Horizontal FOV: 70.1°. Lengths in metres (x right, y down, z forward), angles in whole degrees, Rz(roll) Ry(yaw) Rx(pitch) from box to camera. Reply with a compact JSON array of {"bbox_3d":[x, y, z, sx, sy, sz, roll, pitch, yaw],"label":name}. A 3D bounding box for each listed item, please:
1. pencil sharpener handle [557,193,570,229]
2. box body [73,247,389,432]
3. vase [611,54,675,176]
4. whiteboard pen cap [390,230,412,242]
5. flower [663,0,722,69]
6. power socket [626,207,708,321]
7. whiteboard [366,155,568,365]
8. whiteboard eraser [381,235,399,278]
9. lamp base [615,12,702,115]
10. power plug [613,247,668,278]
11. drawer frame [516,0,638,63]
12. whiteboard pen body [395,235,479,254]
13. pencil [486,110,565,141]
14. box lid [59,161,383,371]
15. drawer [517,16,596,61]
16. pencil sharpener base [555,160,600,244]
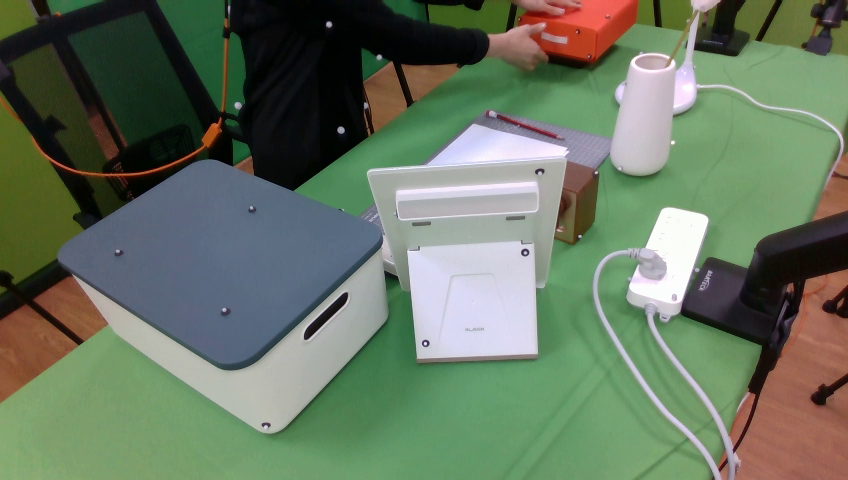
[{"bbox_3d":[0.195,-0.038,0.908,0.035,0.068,0.031,24,50,30],"label":"pencil sharpener handle"},{"bbox_3d":[-0.255,0.065,0.827,0.361,0.161,0.255,21,48,29],"label":"box body"},{"bbox_3d":[0.377,-0.209,1.031,0.098,0.201,0.097,-3,40,3],"label":"vase"},{"bbox_3d":[-0.036,-0.006,0.980,0.033,0.018,0.018,9,43,17],"label":"whiteboard pen cap"},{"bbox_3d":[0.379,-0.261,0.965,0.044,0.362,0.038,21,53,5],"label":"flower"},{"bbox_3d":[0.359,0.026,0.886,0.072,0.033,0.227,16,46,26],"label":"power socket"},{"bbox_3d":[0.059,0.050,0.738,0.217,0.307,0.143,-3,60,5],"label":"whiteboard"},{"bbox_3d":[-0.066,0.022,0.945,0.112,0.042,0.056,20,49,28],"label":"whiteboard eraser"},{"bbox_3d":[0.484,-0.363,1.211,0.180,0.181,0.159,-15,41,-14],"label":"lamp base"},{"bbox_3d":[0.306,0.031,0.851,0.072,0.053,0.035,24,49,34],"label":"power plug"},{"bbox_3d":[0.355,-0.508,1.411,0.200,0.083,0.214,23,51,32],"label":"drawer frame"},{"bbox_3d":[0.019,0.005,0.962,0.140,0.017,0.017,9,43,17],"label":"whiteboard pen body"},{"bbox_3d":[0.204,-0.232,1.226,0.192,0.012,0.012,29,52,33],"label":"pencil"},{"bbox_3d":[-0.262,0.010,0.777,0.369,0.015,0.264,21,48,29],"label":"box lid"},{"bbox_3d":[0.352,-0.505,1.406,0.193,0.073,0.212,23,48,32],"label":"drawer"},{"bbox_3d":[0.228,-0.057,0.945,0.061,0.107,0.077,24,50,31],"label":"pencil sharpener base"}]
